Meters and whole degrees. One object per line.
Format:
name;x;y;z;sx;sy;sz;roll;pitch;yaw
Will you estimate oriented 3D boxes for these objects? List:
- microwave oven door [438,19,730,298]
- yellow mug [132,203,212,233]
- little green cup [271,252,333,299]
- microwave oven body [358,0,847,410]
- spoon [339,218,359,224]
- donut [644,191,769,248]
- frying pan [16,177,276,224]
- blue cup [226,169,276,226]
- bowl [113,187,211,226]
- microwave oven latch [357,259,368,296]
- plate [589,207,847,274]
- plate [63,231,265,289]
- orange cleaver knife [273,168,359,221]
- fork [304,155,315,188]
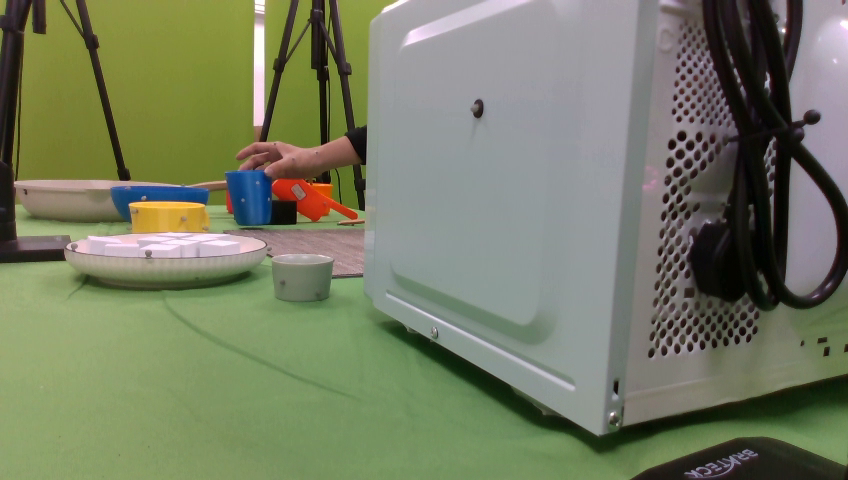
microwave oven door;0.181;-0.076;0.618;0.358;0.243;0.039;-2;8;-28
yellow mug;-0.356;-0.020;0.878;0.099;0.064;0.131;5;7;22
little green cup;-0.122;0.035;0.605;0.061;0.038;0.061;3;7;0
microwave oven body;0.210;-0.051;0.471;0.444;0.260;0.324;-1;7;-28
spoon;-0.087;-0.041;1.268;0.193;0.021;0.041;3;20;13
donut;0.240;-0.017;0.518;0.099;0.048;0.099;2;4;0
frying pan;-0.553;-0.097;1.265;0.490;0.102;0.305;-10;13;-24
blue cup;-0.323;-0.081;1.139;0.093;0.100;0.092;-3;10;1
bowl;-0.436;-0.046;1.013;0.151;0.077;0.151;2;7;0
microwave oven latch;-0.019;0.031;0.528;0.079;0.029;0.030;-1;7;-25
plate;0.246;-0.002;0.510;0.209;0.038;0.209;3;6;0
plate;-0.288;0.021;0.687;0.208;0.039;0.207;2;8;0
orange cleaver knife;-0.237;-0.083;1.332;0.212;0.077;0.012;31;-9;-31
fork;-0.268;-0.134;1.447;0.028;0.018;0.207;2;-36;-1
